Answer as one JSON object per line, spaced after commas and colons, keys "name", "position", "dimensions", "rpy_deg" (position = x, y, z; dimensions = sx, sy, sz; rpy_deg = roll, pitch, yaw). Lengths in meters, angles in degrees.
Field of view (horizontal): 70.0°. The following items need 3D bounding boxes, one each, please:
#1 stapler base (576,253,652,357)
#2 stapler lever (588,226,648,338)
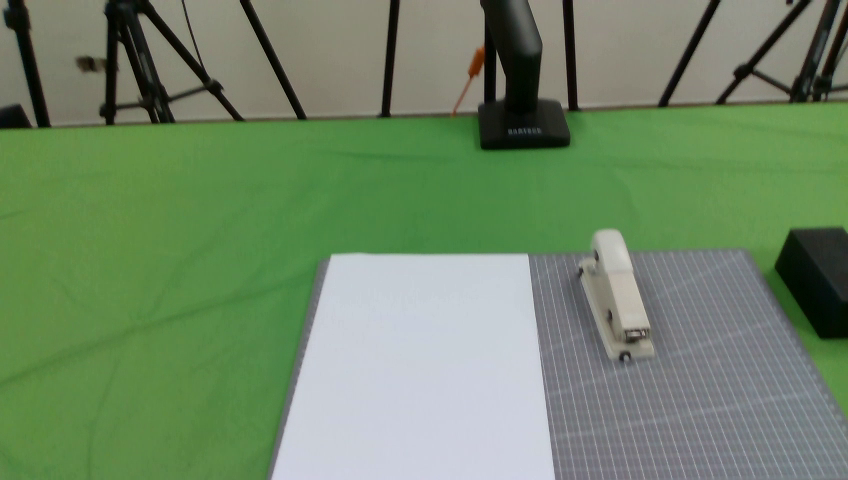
{"name": "stapler base", "position": [0.176, 0.052, 0.570], "dimensions": [0.041, 0.025, 0.129], "rpy_deg": [-6, 42, 1]}
{"name": "stapler lever", "position": [0.175, 0.034, 0.552], "dimensions": [0.027, 0.040, 0.117], "rpy_deg": [-6, 42, 1]}
